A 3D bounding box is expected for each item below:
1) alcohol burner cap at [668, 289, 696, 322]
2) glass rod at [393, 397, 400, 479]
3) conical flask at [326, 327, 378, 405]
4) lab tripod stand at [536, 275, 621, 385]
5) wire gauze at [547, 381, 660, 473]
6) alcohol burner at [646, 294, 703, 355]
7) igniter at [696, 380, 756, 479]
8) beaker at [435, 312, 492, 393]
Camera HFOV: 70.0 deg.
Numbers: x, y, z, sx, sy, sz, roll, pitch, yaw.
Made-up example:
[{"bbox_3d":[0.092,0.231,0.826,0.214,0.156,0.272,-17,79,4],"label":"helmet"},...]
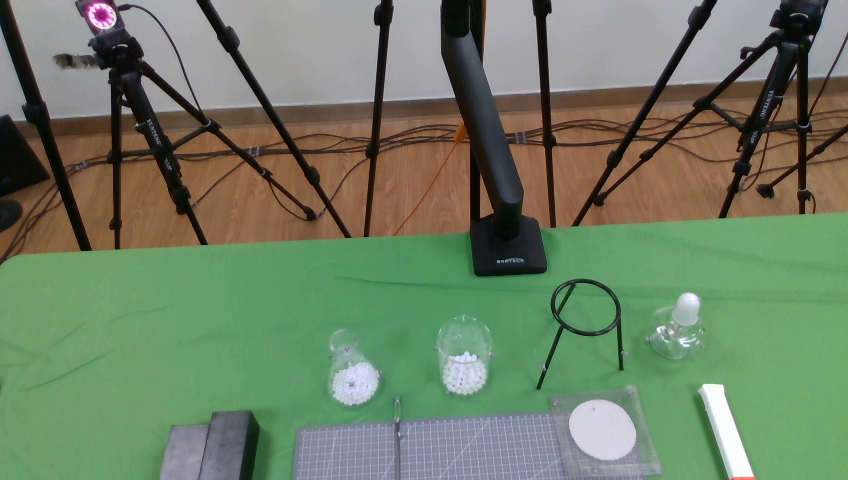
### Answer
[{"bbox_3d":[0.356,0.086,0.829,0.034,0.048,0.033,-5,47,5],"label":"alcohol burner cap"},{"bbox_3d":[-0.034,0.294,0.781,0.008,0.008,0.197,-3,49,-1],"label":"glass rod"},{"bbox_3d":[-0.104,0.166,0.824,0.075,0.123,0.074,-1,49,2],"label":"conical flask"},{"bbox_3d":[0.210,0.125,0.837,0.148,0.133,0.147,-1,51,2],"label":"lab tripod stand"},{"bbox_3d":[0.237,0.249,0.809,0.125,0.011,0.120,-4,49,-1],"label":"wire gauze"},{"bbox_3d":[0.358,0.111,0.856,0.078,0.120,0.077,-2,51,3],"label":"alcohol burner"},{"bbox_3d":[0.393,0.301,0.748,0.057,0.025,0.273,4,49,-6],"label":"igniter"},{"bbox_3d":[0.054,0.158,0.838,0.074,0.101,0.083,-1,49,1],"label":"beaker"}]
